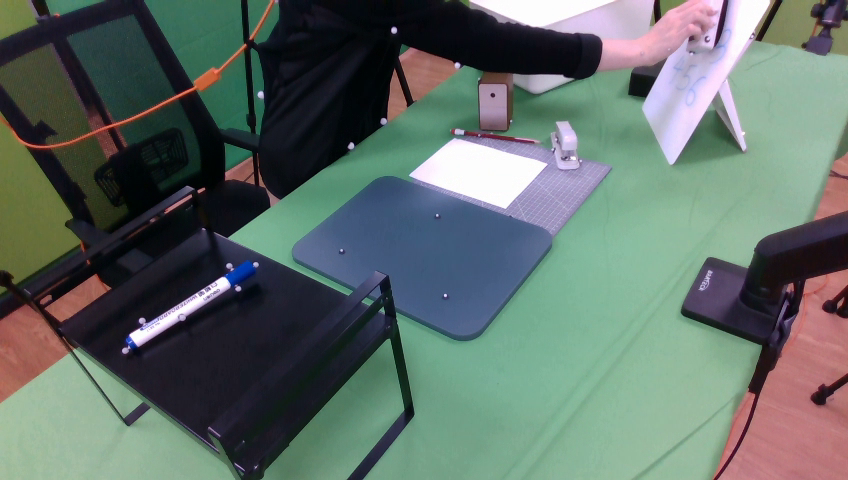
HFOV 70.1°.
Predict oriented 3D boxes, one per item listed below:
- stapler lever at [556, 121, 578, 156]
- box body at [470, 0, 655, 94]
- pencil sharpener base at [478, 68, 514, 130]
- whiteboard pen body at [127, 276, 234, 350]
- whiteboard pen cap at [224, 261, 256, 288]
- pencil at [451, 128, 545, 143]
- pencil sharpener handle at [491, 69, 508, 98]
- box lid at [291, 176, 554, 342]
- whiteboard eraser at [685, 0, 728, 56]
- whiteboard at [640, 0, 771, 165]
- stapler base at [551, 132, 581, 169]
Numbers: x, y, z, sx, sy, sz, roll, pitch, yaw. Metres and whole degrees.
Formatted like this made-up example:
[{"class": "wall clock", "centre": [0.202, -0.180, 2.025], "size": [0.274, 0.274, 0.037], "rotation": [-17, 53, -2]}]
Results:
[{"class": "stapler lever", "centre": [0.266, -0.198, 1.128], "size": [0.027, 0.040, 0.117], "rotation": [0, 37, 3]}, {"class": "box body", "centre": [0.319, -0.498, 1.405], "size": [0.365, 0.161, 0.252], "rotation": [-26, 43, -21]}, {"class": "pencil sharpener base", "centre": [0.148, -0.286, 1.225], "size": [0.061, 0.107, 0.076], "rotation": [5, 42, 14]}, {"class": "whiteboard pen body", "centre": [-0.251, 0.070, 0.649], "size": [0.141, 0.017, 0.017], "rotation": [-36, 48, -26]}, {"class": "whiteboard pen cap", "centre": [-0.207, 0.039, 0.677], "size": [0.033, 0.018, 0.018], "rotation": [-35, 47, -18]}, {"class": "pencil", "centre": [0.145, -0.207, 1.204], "size": [0.193, 0.012, 0.012], "rotation": [11, 44, 20]}, {"class": "pencil sharpener handle", "centre": [0.155, -0.329, 1.254], "size": [0.036, 0.068, 0.030], "rotation": [16, 43, 4]}, {"class": "box lid", "centre": [-0.005, 0.011, 0.972], "size": [0.368, 0.015, 0.264], "rotation": [22, 49, 30]}, {"class": "whiteboard eraser", "centre": [0.477, -0.371, 1.015], "size": [0.042, 0.112, 0.055], "rotation": [9, 5, -12]}, {"class": "whiteboard", "centre": [0.544, -0.299, 1.076], "size": [0.144, 0.305, 0.216], "rotation": [12, 40, -6]}, {"class": "stapler base", "centre": [0.268, -0.178, 1.142], "size": [0.041, 0.024, 0.130], "rotation": [1, 37, 3]}]
